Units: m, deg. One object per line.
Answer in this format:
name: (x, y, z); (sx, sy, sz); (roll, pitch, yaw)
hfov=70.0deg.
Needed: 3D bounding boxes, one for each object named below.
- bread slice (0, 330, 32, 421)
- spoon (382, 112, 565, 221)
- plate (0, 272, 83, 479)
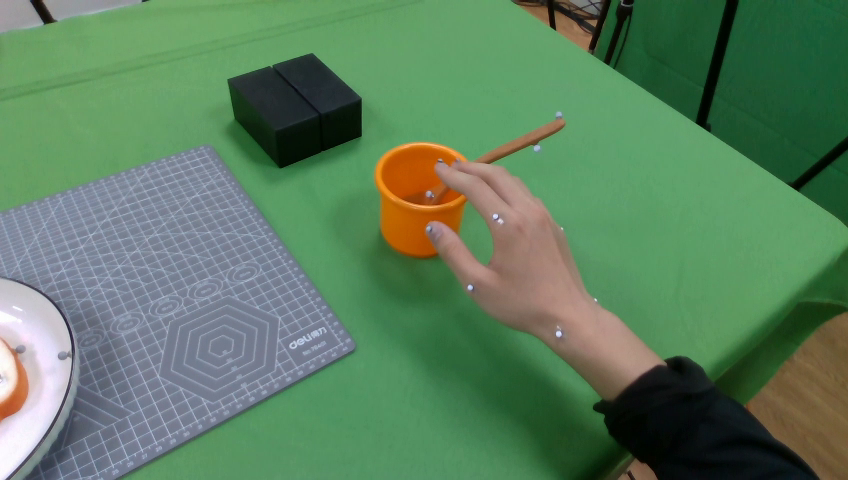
bread slice: (-0.350, 0.111, 0.418); (0.104, 0.019, 0.131); (35, 55, 21)
spoon: (0.039, -0.064, 0.545); (0.022, 0.193, 0.041); (40, 36, -31)
plate: (-0.344, 0.112, 0.414); (0.209, 0.038, 0.207); (4, 49, -4)
